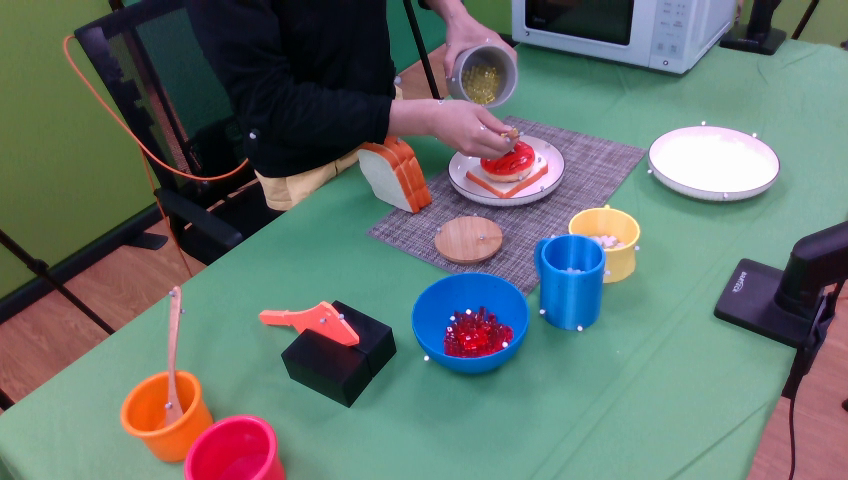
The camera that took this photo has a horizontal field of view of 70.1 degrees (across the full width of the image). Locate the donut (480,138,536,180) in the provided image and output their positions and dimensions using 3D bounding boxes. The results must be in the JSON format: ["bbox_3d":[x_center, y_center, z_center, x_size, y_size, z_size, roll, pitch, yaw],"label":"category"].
[{"bbox_3d":[0.146,-0.144,1.056,0.099,0.048,0.098,-6,43,6],"label":"donut"}]

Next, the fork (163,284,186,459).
[{"bbox_3d":[-0.302,0.157,0.733,0.028,0.019,0.207,-3,84,14],"label":"fork"}]

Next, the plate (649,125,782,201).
[{"bbox_3d":[0.493,-0.127,1.036,0.207,0.039,0.206,-4,41,4],"label":"plate"}]

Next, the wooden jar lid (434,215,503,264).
[{"bbox_3d":[0.070,0.001,0.956,0.108,0.021,0.108,-4,40,4],"label":"wooden jar lid"}]

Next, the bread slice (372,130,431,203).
[{"bbox_3d":[-0.042,-0.128,1.039,0.106,0.135,0.018,30,62,33],"label":"bread slice"}]

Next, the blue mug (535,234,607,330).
[{"bbox_3d":[0.191,0.048,0.824,0.082,0.106,0.115,-26,44,-20],"label":"blue mug"}]

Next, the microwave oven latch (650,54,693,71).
[{"bbox_3d":[0.531,-0.386,1.301,0.078,0.029,0.030,26,51,33],"label":"microwave oven latch"}]

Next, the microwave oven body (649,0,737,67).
[{"bbox_3d":[0.475,-0.602,1.411,0.438,0.261,0.327,23,50,32],"label":"microwave oven body"}]

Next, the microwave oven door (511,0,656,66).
[{"bbox_3d":[0.351,-0.539,1.349,0.353,0.245,0.039,24,50,31],"label":"microwave oven door"}]

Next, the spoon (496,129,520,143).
[{"bbox_3d":[0.135,-0.166,0.949,0.041,0.021,0.194,-4,6,5],"label":"spoon"}]

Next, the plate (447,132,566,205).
[{"bbox_3d":[0.146,-0.124,1.076,0.209,0.038,0.208,-4,41,4],"label":"plate"}]

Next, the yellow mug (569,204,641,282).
[{"bbox_3d":[0.268,-0.005,0.904,0.099,0.064,0.130,7,41,15],"label":"yellow mug"}]

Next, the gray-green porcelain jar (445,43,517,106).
[{"bbox_3d":[0.098,-0.294,1.083,0.106,0.106,0.126,-14,16,-8],"label":"gray-green porcelain jar"}]

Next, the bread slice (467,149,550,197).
[{"bbox_3d":[0.156,-0.129,1.084,0.132,0.019,0.104,-34,47,-24],"label":"bread slice"}]

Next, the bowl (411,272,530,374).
[{"bbox_3d":[0.062,0.120,0.780,0.151,0.077,0.150,-4,40,4],"label":"bowl"}]

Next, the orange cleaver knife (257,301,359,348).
[{"bbox_3d":[-0.160,0.115,0.813,0.210,0.077,0.012,-9,29,48],"label":"orange cleaver knife"}]
